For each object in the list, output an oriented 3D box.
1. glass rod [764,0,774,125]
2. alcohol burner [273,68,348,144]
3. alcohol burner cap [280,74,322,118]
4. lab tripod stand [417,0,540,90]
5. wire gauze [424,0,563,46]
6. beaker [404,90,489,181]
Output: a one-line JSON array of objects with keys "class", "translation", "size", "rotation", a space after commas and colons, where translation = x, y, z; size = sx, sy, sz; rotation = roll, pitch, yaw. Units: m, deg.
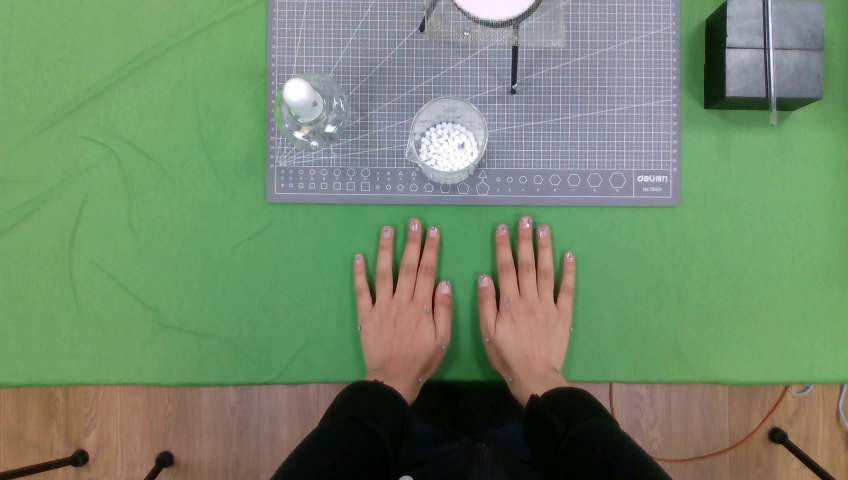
[{"class": "glass rod", "translation": [0.350, -0.216, 0.615], "size": [0.008, 0.008, 0.199], "rotation": [-1, 90, 0]}, {"class": "alcohol burner", "translation": [-0.116, -0.137, 0.605], "size": [0.078, 0.119, 0.078], "rotation": [0, 90, 0]}, {"class": "alcohol burner cap", "translation": [-0.117, -0.137, 0.569], "size": [0.034, 0.048, 0.034], "rotation": [0, 83, 4]}, {"class": "lab tripod stand", "translation": [0.065, -0.235, 0.597], "size": [0.148, 0.131, 0.148], "rotation": [0, 87, 1]}, {"class": "wire gauze", "translation": [0.061, -0.233, 0.530], "size": [0.125, 0.011, 0.121], "rotation": [1, 89, 0]}, {"class": "beaker", "translation": [0.020, -0.098, 0.612], "size": [0.084, 0.100, 0.074], "rotation": [-27, 88, 0]}]
